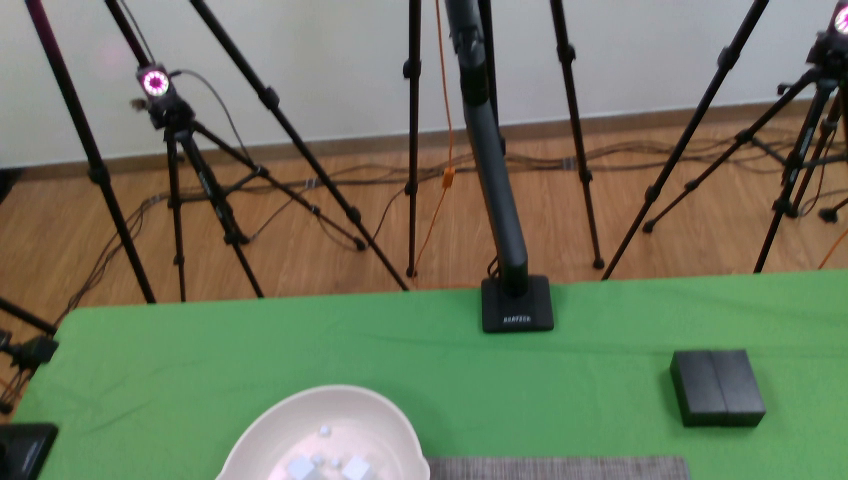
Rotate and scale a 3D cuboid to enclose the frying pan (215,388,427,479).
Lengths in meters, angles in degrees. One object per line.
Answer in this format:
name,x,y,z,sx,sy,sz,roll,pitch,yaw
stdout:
frying pan,-0.146,0.418,0.766,0.306,0.104,0.483,-7,39,7
